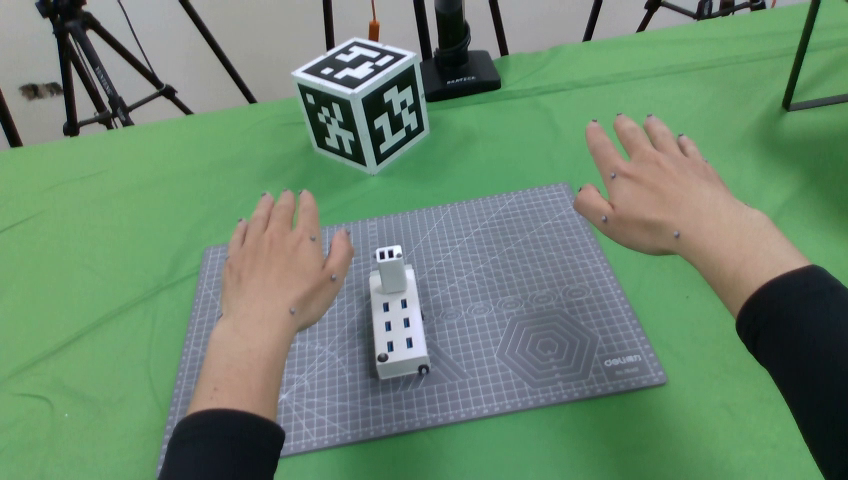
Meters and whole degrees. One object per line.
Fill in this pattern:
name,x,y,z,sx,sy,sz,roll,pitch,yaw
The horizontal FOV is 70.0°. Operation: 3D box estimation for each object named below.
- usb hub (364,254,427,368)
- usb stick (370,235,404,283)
usb hub,-0.031,0.067,0.601,0.049,0.025,0.124,-11,43,-1
usb stick,-0.035,0.024,0.604,0.027,0.060,0.021,-14,44,-2
